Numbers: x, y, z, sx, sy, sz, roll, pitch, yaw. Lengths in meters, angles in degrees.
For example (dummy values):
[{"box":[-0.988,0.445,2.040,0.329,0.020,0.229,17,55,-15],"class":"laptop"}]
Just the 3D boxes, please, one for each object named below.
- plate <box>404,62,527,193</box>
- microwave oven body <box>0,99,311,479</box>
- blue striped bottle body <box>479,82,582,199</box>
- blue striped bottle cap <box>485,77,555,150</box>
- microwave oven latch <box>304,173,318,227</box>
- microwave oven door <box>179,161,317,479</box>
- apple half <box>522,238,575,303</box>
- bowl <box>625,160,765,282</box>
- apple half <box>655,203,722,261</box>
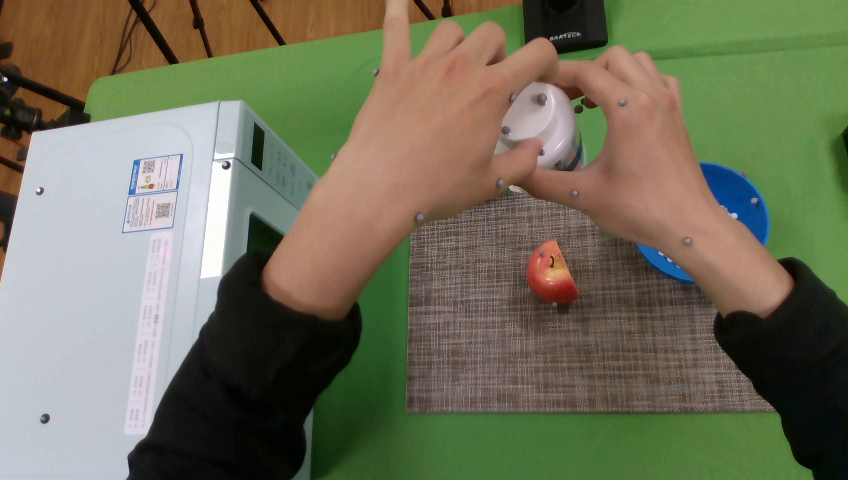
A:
[{"box":[0.076,-0.160,0.883,0.207,0.039,0.206,-4,71,13],"class":"plate"},{"box":[-0.339,0.091,0.783,0.325,0.262,0.438,-6,71,12],"class":"microwave oven body"},{"box":[0.078,-0.073,0.441,0.063,0.121,0.063,-3,80,19],"class":"blue striped bottle body"},{"box":[0.062,-0.082,0.392,0.044,0.021,0.044,-3,80,16],"class":"blue striped bottle cap"},{"box":[-0.173,-0.059,0.895,0.030,0.030,0.078,-7,71,12],"class":"microwave oven latch"},{"box":[-0.198,0.115,0.733,0.039,0.246,0.353,-6,70,13],"class":"microwave oven door"},{"box":[0.154,0.045,0.770,0.053,0.075,0.080,-24,71,10],"class":"apple half"},{"box":[0.323,-0.013,0.742,0.151,0.077,0.150,-5,71,14],"class":"bowl"},{"box":[0.323,-0.013,0.737,0.081,0.033,0.080,-5,69,13],"class":"apple half"}]
